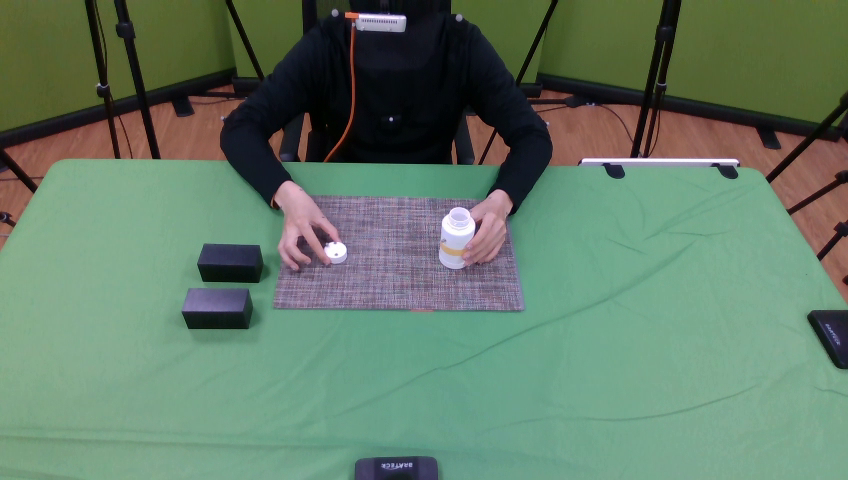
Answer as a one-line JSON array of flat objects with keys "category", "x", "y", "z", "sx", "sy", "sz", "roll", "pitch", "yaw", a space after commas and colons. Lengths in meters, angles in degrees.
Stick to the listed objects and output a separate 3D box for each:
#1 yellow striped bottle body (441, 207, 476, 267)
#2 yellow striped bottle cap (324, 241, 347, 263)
[{"category": "yellow striped bottle body", "x": 0.064, "y": -0.008, "z": 1.132, "sx": 0.063, "sy": 0.121, "sz": 0.062, "roll": 1, "pitch": 51, "yaw": -1}, {"category": "yellow striped bottle cap", "x": -0.170, "y": 0.022, "z": 1.161, "sx": 0.044, "sy": 0.019, "sz": 0.044, "roll": 0, "pitch": 47, "yaw": 0}]
